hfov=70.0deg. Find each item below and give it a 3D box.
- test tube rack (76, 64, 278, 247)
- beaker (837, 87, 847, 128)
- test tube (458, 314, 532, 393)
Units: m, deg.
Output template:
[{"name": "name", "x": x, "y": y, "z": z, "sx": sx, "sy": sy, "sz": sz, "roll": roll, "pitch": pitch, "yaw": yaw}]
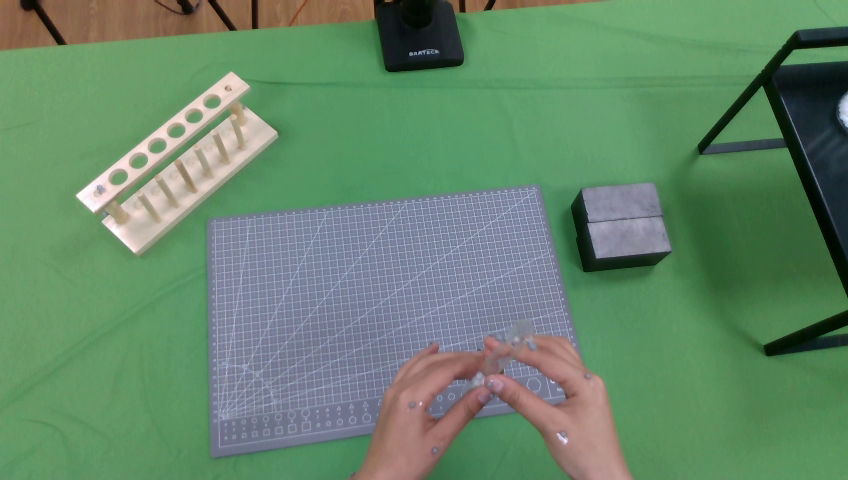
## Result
[{"name": "test tube rack", "x": -0.304, "y": -0.109, "z": 0.773, "sx": 0.066, "sy": 0.085, "sz": 0.242, "roll": 40, "pitch": 71, "yaw": 12}, {"name": "beaker", "x": 0.511, "y": -0.163, "z": 0.658, "sx": 0.084, "sy": 0.101, "sz": 0.073, "roll": -11, "pitch": 69, "yaw": -8}, {"name": "test tube", "x": 0.053, "y": 0.096, "z": 0.487, "sx": 0.017, "sy": 0.151, "sz": 0.017, "roll": 7, "pitch": 58, "yaw": -11}]
